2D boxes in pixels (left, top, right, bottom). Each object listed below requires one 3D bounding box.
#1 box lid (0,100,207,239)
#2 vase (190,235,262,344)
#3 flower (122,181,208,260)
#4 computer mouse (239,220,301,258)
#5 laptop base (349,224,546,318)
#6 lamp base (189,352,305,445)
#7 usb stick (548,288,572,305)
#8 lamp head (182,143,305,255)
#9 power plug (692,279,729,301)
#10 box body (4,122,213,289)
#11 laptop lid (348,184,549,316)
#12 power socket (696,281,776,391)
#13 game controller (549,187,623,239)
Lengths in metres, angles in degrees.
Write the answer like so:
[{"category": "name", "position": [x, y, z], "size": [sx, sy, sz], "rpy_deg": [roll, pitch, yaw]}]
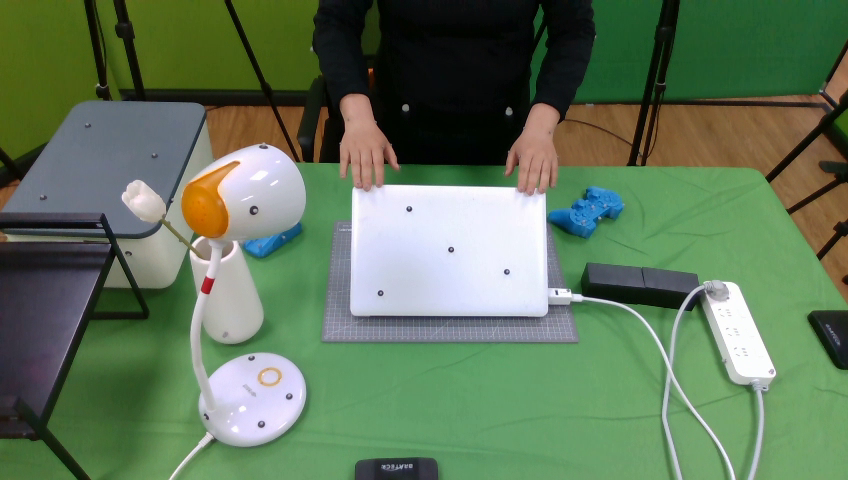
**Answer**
[{"category": "box lid", "position": [-0.559, -0.138, 1.085], "size": [0.263, 0.015, 0.369], "rpy_deg": [2, 46, -2]}, {"category": "vase", "position": [-0.317, 0.081, 0.971], "size": [0.098, 0.201, 0.097], "rpy_deg": [3, 47, -3]}, {"category": "flower", "position": [-0.329, 0.029, 0.905], "size": [0.038, 0.364, 0.044], "rpy_deg": [-21, 58, -1]}, {"category": "computer mouse", "position": [-0.300, -0.016, 1.177], "size": [0.062, 0.041, 0.117], "rpy_deg": [36, 59, 23]}, {"category": "laptop base", "position": [0.040, 0.056, 1.150], "size": [0.355, 0.023, 0.234], "rpy_deg": [0, 43, -4]}, {"category": "lamp base", "position": [-0.268, 0.196, 0.876], "size": [0.160, 0.181, 0.179], "rpy_deg": [26, 52, 19]}, {"category": "usb stick", "position": [0.236, 0.103, 1.099], "size": [0.059, 0.027, 0.021], "rpy_deg": [-1, 49, -2]}, {"category": "lamp head", "position": [-0.216, -0.044, 0.697], "size": [0.112, 0.113, 0.123], "rpy_deg": [23, 31, 17]}, {"category": "power plug", "position": [0.522, 0.092, 1.115], "size": [0.072, 0.053, 0.035], "rpy_deg": [8, 46, 7]}, {"category": "box body", "position": [-0.563, -0.088, 1.139], "size": [0.254, 0.161, 0.361], "rpy_deg": [2, 46, -3]}, {"category": "laptop lid", "position": [0.046, 0.017, 1.072], "size": [0.357, 0.013, 0.241], "rpy_deg": [2, 83, -4]}, {"category": "power socket", "position": [0.550, 0.160, 1.078], "size": [0.072, 0.033, 0.225], "rpy_deg": [2, 46, -1]}, {"category": "game controller", "position": [0.346, -0.065, 1.272], "size": [0.155, 0.052, 0.096], "rpy_deg": [-31, 58, -29]}]
